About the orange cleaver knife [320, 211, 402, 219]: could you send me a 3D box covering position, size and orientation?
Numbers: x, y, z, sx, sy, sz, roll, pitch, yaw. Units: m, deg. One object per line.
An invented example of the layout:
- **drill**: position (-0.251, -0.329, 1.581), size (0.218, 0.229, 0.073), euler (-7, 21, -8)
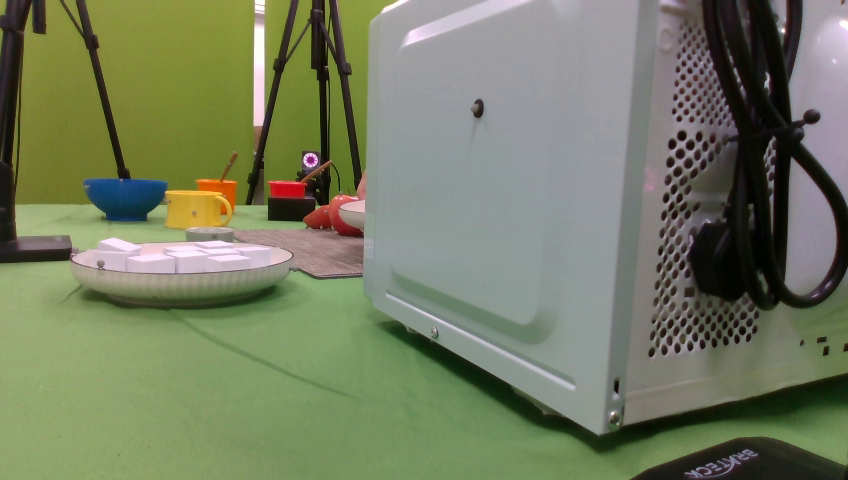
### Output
- **orange cleaver knife**: position (-0.142, -0.057, 1.394), size (0.077, 0.012, 0.212), euler (3, 7, 44)

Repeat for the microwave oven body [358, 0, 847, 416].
- **microwave oven body**: position (0.211, -0.047, 0.475), size (0.444, 0.260, 0.324), euler (-1, 7, -28)

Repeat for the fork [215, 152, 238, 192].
- **fork**: position (-0.455, -0.132, 1.367), size (0.028, 0.018, 0.207), euler (-2, -35, -37)

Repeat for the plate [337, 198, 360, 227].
- **plate**: position (-0.021, -0.037, 0.876), size (0.209, 0.038, 0.209), euler (-1, 10, 1)

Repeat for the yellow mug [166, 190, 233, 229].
- **yellow mug**: position (-0.415, -0.057, 1.132), size (0.130, 0.064, 0.100), euler (6, 8, 16)

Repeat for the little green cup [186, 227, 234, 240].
- **little green cup**: position (-0.284, 0.005, 0.805), size (0.061, 0.038, 0.061), euler (2, 8, 0)

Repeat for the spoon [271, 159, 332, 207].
- **spoon**: position (-0.307, -0.142, 1.514), size (0.193, 0.021, 0.041), euler (-41, 4, 8)

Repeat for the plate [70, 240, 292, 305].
- **plate**: position (-0.241, 0.031, 0.618), size (0.208, 0.039, 0.207), euler (2, 8, 0)

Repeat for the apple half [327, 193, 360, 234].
- **apple half**: position (-0.132, -0.047, 1.087), size (0.081, 0.074, 0.053), euler (5, 10, -13)

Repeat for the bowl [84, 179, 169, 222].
- **bowl**: position (-0.584, -0.078, 1.194), size (0.151, 0.077, 0.151), euler (3, 8, 0)

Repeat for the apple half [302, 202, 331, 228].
- **apple half**: position (-0.192, -0.043, 1.169), size (0.081, 0.032, 0.081), euler (-23, -12, -5)

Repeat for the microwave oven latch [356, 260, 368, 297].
- **microwave oven latch**: position (-0.020, 0.033, 0.531), size (0.079, 0.029, 0.030), euler (-1, 7, -27)

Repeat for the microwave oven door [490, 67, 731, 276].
- **microwave oven door**: position (0.230, -0.098, 0.834), size (0.039, 0.243, 0.354), euler (-3, 9, -37)

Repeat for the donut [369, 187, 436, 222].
- **donut**: position (-0.031, -0.051, 0.890), size (0.099, 0.048, 0.099), euler (1, 10, 0)
